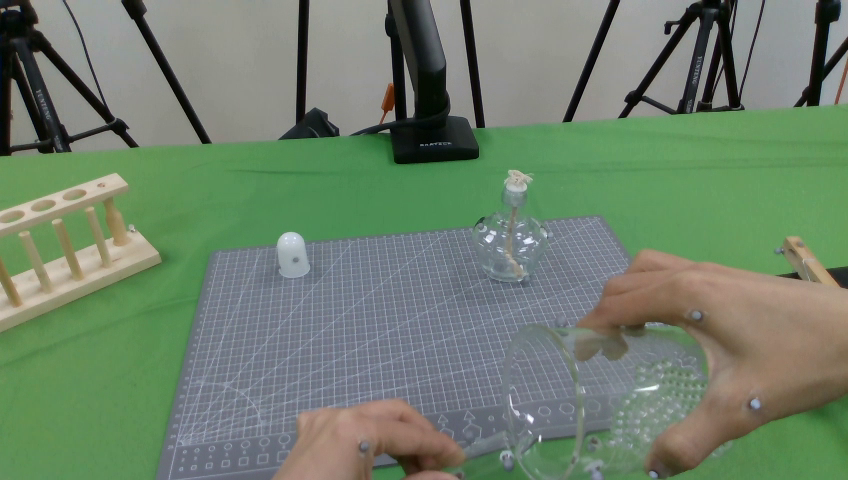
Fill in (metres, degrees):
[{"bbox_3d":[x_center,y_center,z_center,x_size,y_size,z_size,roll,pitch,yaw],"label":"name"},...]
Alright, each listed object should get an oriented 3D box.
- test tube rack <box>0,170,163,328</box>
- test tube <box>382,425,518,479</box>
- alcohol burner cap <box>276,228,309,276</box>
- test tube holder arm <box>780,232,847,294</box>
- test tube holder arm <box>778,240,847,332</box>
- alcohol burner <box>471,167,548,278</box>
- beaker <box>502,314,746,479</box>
[{"bbox_3d":[-0.394,0.021,0.585,0.242,0.086,0.066,-28,45,-33],"label":"test tube rack"},{"bbox_3d":[-0.016,0.138,0.335,0.150,0.017,0.017,-30,33,15],"label":"test tube"},{"bbox_3d":[-0.138,0.010,0.628,0.034,0.048,0.033,-1,36,1],"label":"alcohol burner cap"},{"bbox_3d":[0.345,0.021,0.538,0.015,0.010,0.087,1,37,1],"label":"test tube holder arm"},{"bbox_3d":[0.344,0.052,0.505,0.015,0.013,0.176,1,36,1],"label":"test tube holder arm"},{"bbox_3d":[0.087,-0.021,0.606,0.078,0.120,0.077,1,36,0],"label":"alcohol burner"},{"bbox_3d":[0.099,0.079,0.305,0.101,0.084,0.073,2,47,-18],"label":"beaker"}]
